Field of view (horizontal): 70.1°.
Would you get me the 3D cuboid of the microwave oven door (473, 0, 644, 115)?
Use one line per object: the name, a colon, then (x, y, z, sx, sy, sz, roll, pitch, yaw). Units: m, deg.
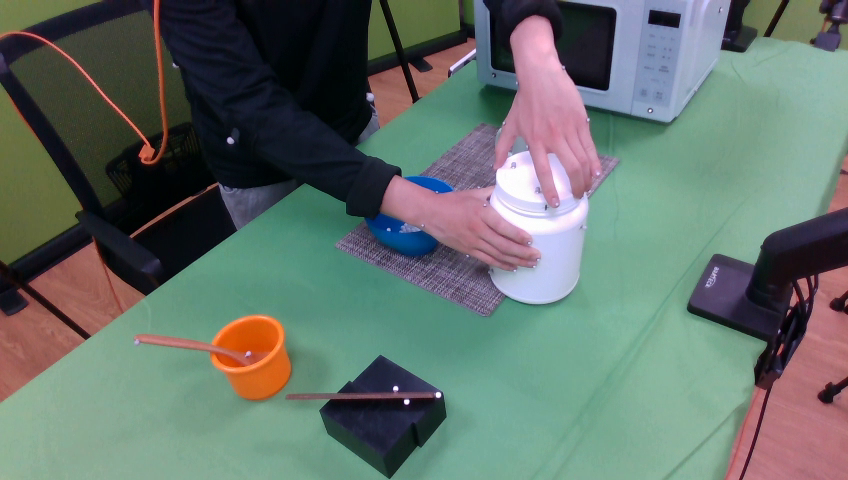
microwave oven door: (0.257, -0.396, 1.199, 0.353, 0.245, 0.039, 21, 48, 29)

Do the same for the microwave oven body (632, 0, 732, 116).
microwave oven body: (0.377, -0.462, 1.267, 0.438, 0.261, 0.327, 21, 48, 30)

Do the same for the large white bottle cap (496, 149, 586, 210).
large white bottle cap: (0.150, -0.080, 0.778, 0.115, 0.018, 0.114, -2, 42, 2)

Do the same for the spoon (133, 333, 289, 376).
spoon: (-0.257, 0.137, 0.747, 0.195, 0.021, 0.041, 25, 26, -36)

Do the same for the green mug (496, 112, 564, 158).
green mug: (0.185, -0.161, 1.061, 0.124, 0.105, 0.092, 15, 46, 24)

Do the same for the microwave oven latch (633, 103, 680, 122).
microwave oven latch: (0.444, -0.249, 1.157, 0.078, 0.029, 0.030, 21, 49, 30)

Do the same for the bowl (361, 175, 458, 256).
bowl: (-0.019, -0.029, 0.955, 0.151, 0.077, 0.150, -4, 40, 4)

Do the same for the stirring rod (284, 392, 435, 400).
stirring rod: (-0.075, 0.180, 0.698, 0.176, 0.006, 0.014, -2, 6, 6)

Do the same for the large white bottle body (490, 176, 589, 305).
large white bottle body: (0.157, -0.015, 0.834, 0.130, 0.185, 0.130, -3, 42, 4)
